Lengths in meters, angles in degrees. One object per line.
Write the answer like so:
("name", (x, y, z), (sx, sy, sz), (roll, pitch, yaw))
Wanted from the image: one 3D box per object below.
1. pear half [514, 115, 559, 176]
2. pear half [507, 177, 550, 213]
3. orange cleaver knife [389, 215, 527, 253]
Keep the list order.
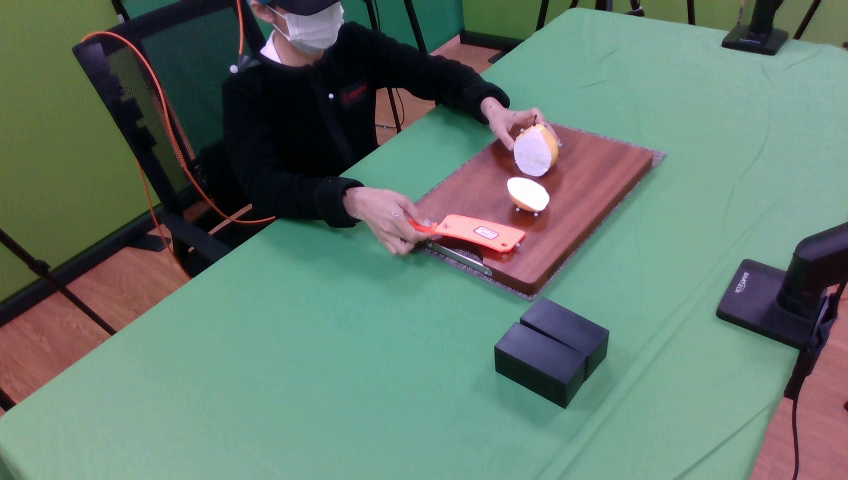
("pear half", (0.196, -0.170, 1.033), (0.076, 0.110, 0.056), (18, 46, 23))
("pear half", (0.167, -0.066, 0.974), (0.071, 0.031, 0.087), (-3, 47, -16))
("orange cleaver knife", (0.052, -0.017, 0.941), (0.210, 0.012, 0.077), (10, 35, 14))
